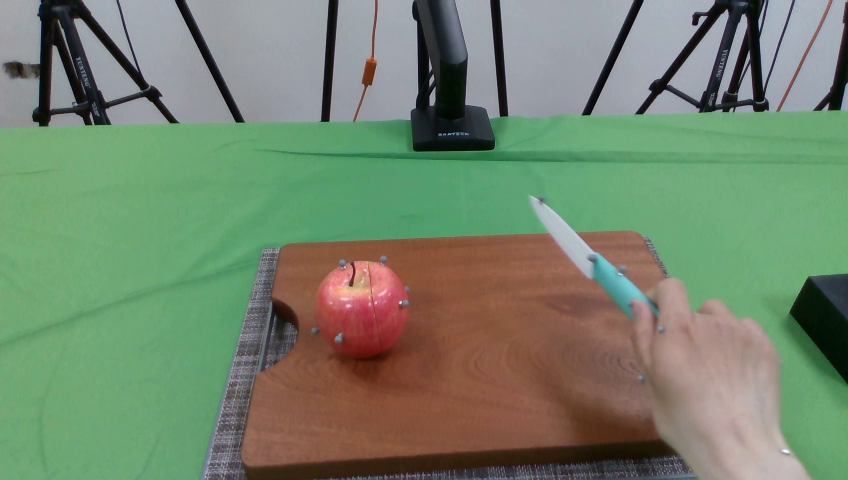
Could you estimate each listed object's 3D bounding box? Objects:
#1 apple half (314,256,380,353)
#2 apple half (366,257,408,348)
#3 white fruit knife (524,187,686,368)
[{"bbox_3d":[-0.068,0.059,0.528,0.053,0.075,0.080,-10,44,-5],"label":"apple half"},{"bbox_3d":[-0.030,0.054,0.533,0.033,0.082,0.080,-9,40,-5],"label":"apple half"},{"bbox_3d":[0.142,0.019,0.504,0.016,0.027,0.205,-7,44,-34],"label":"white fruit knife"}]
